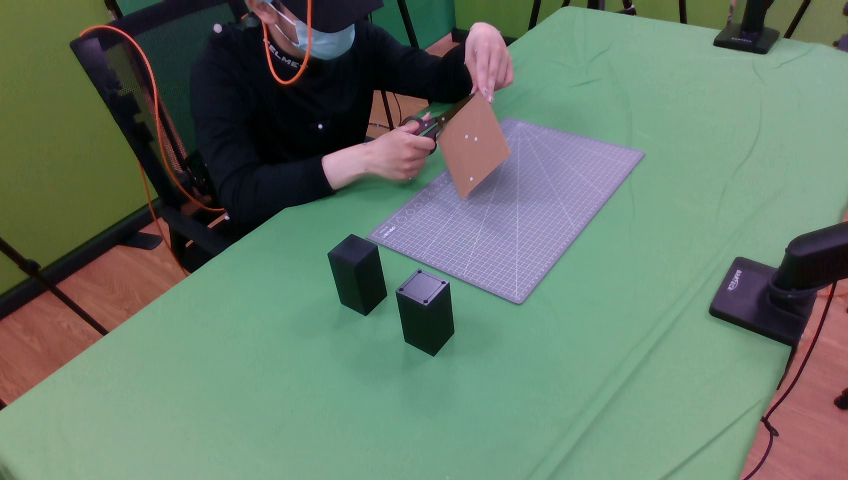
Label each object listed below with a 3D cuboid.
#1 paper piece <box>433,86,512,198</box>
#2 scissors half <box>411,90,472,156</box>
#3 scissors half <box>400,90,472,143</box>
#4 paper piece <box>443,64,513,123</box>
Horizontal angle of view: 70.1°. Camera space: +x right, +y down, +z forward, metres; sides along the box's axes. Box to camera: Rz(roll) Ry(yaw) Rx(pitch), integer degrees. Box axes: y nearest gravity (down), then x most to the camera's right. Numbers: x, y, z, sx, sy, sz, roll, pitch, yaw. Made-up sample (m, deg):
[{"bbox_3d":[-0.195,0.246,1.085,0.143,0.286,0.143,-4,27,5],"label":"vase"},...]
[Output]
[{"bbox_3d":[0.076,-0.161,1.008,0.004,0.135,0.135,-2,62,-43],"label":"paper piece"},{"bbox_3d":[0.031,-0.203,1.056,0.040,0.174,0.013,44,43,0],"label":"scissors half"},{"bbox_3d":[0.018,-0.218,1.053,0.174,0.040,0.013,-24,20,40],"label":"scissors half"},{"bbox_3d":[0.088,-0.256,1.089,0.008,0.135,0.138,52,43,-3],"label":"paper piece"}]
